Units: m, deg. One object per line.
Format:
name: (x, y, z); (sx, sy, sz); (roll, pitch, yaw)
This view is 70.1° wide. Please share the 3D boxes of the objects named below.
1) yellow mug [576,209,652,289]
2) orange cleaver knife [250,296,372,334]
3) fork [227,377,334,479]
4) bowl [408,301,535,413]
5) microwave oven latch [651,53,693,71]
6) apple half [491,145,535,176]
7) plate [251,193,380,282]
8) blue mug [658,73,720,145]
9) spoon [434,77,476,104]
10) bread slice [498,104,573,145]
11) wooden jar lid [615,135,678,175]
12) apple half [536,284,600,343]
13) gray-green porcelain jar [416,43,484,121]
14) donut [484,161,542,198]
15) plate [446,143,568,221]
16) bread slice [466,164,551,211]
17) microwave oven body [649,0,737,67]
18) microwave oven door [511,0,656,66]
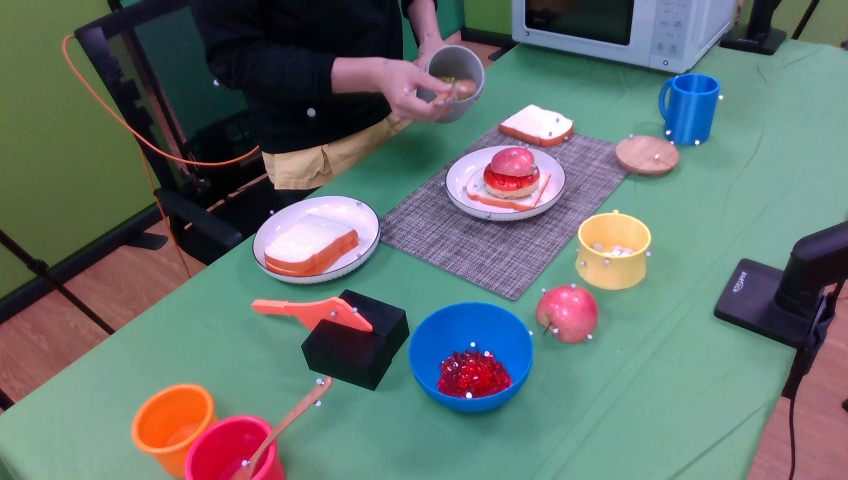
yellow mug: (0.279, 0.004, 0.893); (0.099, 0.064, 0.130); (5, 42, 14)
orange cleaver knife: (-0.159, 0.103, 0.828); (0.210, 0.078, 0.012); (-4, 43, 39)
fork: (-0.162, 0.216, 0.647); (0.207, 0.019, 0.028); (-49, 41, 17)
bowl: (0.059, 0.156, 0.739); (0.151, 0.077, 0.150); (-4, 40, 4)
microwave oven latch: (0.532, -0.386, 1.301); (0.078, 0.029, 0.030); (27, 52, 34)
apple half: (0.147, -0.138, 0.994); (0.081, 0.033, 0.081); (1, 37, 0)
plate: (-0.174, -0.001, 0.984); (0.209, 0.038, 0.208); (-4, 41, 4)
blue mug: (0.483, -0.250, 1.127); (0.082, 0.106, 0.115); (-26, 44, -19)
spoon: (0.043, -0.234, 0.938); (0.041, 0.021, 0.194); (7, 21, 16)
bread slice: (0.231, -0.231, 1.205); (0.105, 0.019, 0.130); (-36, 47, -29)
wooden jar lid: (0.398, -0.151, 1.086); (0.108, 0.021, 0.108); (-2, 42, 2)
apple half: (0.196, 0.091, 0.815); (0.075, 0.053, 0.080); (-22, 42, -20)
gray-green porcelain jar: (0.043, -0.281, 1.101); (0.106, 0.126, 0.105); (2, 82, -10)
donut: (0.149, -0.110, 1.016); (0.099, 0.048, 0.098); (-4, 41, 4)
plate: (0.142, -0.097, 1.045); (0.207, 0.039, 0.206); (-4, 40, 4)
bread slice: (0.141, -0.092, 1.042); (0.133, 0.018, 0.107); (10, 43, 19)
microwave oven body: (0.475, -0.602, 1.411); (0.438, 0.261, 0.327); (23, 50, 32)
microwave oven door: (0.351, -0.540, 1.349); (0.353, 0.245, 0.039); (24, 50, 31)
